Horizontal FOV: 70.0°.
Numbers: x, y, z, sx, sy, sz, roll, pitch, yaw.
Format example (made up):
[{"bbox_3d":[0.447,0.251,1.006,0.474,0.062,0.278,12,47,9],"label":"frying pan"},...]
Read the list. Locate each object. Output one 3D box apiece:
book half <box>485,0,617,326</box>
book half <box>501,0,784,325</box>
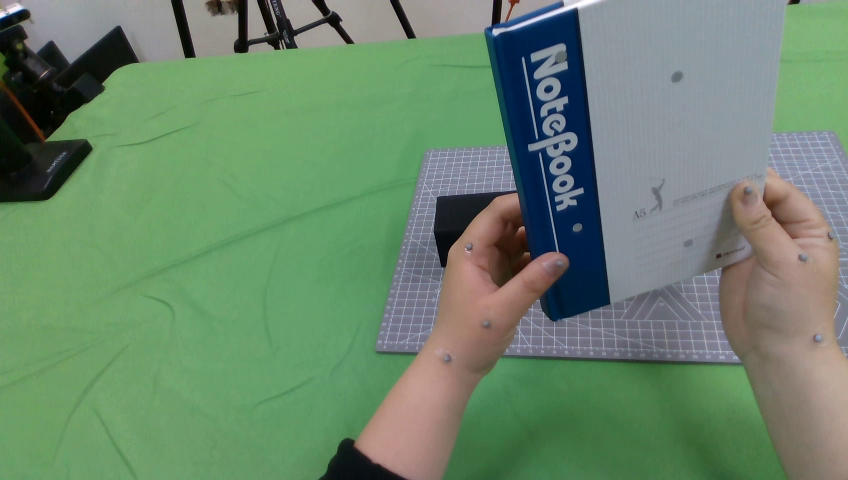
[{"bbox_3d":[0.126,-0.045,0.361,0.149,0.212,0.016,-21,39,-3],"label":"book half"},{"bbox_3d":[0.131,-0.040,0.351,0.143,0.212,0.007,-18,39,2],"label":"book half"}]
